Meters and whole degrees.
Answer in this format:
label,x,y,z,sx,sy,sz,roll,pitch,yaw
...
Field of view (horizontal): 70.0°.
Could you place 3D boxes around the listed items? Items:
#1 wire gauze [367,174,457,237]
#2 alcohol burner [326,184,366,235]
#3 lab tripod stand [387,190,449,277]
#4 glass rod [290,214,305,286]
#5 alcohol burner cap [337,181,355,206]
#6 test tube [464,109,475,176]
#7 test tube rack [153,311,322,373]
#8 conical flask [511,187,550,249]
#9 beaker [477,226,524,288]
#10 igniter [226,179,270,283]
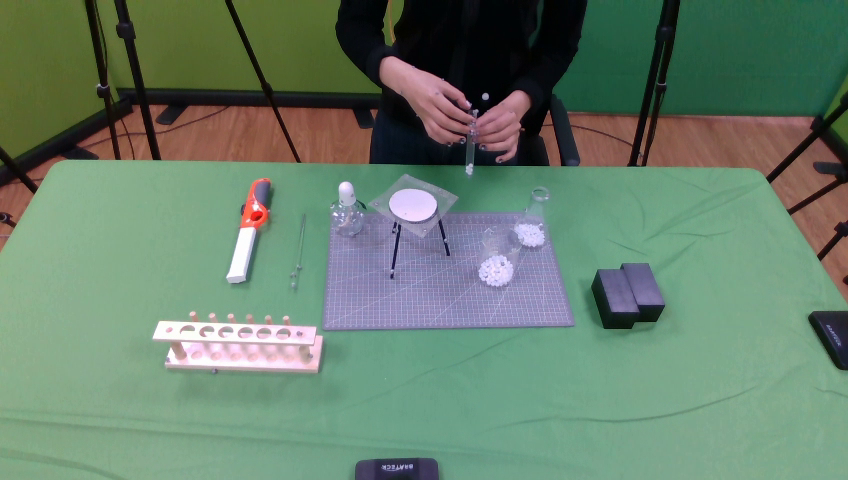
label,x,y,z,sx,sy,sz,roll,pitch,yaw
wire gauze,-0.021,-0.067,1.088,0.124,0.011,0.121,28,49,21
alcohol burner,-0.152,-0.066,1.184,0.078,0.119,0.077,4,46,-4
lab tripod stand,-0.021,-0.018,1.135,0.148,0.132,0.147,3,44,-3
glass rod,-0.245,0.015,1.176,0.008,0.008,0.198,1,43,-3
alcohol burner cap,-0.151,-0.090,1.157,0.034,0.048,0.033,0,52,0
test tube,0.084,-0.177,1.122,0.017,0.151,0.017,0,49,0
test tube rack,-0.293,0.160,0.978,0.242,0.085,0.066,3,46,-2
conical flask,0.217,-0.048,1.190,0.075,0.122,0.075,2,46,-2
beaker,0.139,0.033,1.122,0.084,0.101,0.073,-12,48,-16
igniter,-0.345,-0.027,1.195,0.057,0.025,0.274,-6,46,5
